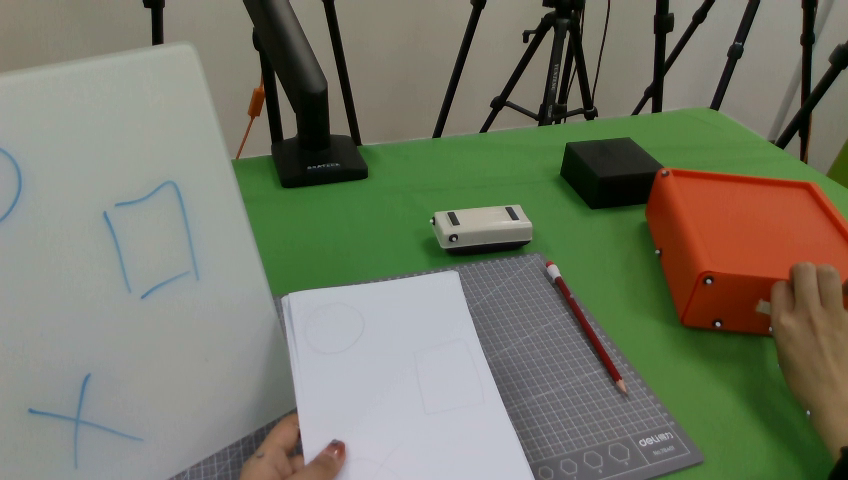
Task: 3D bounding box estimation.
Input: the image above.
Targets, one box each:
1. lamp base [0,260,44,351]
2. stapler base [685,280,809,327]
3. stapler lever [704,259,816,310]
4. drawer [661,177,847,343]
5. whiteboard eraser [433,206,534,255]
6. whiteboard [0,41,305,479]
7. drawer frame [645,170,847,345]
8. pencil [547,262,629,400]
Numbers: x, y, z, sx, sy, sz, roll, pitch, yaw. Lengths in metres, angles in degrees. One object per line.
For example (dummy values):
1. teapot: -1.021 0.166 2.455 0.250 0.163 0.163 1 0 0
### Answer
1. lamp base: -0.458 0.006 0.529 0.178 0.182 0.160 14 37 19
2. stapler base: 0.346 0.062 0.643 0.131 0.024 0.041 11 43 -4
3. stapler lever: 0.351 0.046 0.630 0.118 0.040 0.026 8 43 -1
4. drawer: 0.376 0.014 0.681 0.194 0.074 0.210 5 35 4
5. whiteboard eraser: 0.070 -0.011 0.723 0.113 0.042 0.055 -5 37 -12
6. whiteboard: -0.251 0.028 0.460 0.217 0.307 0.142 -24 25 -32
7. drawer frame: 0.374 0.012 0.683 0.201 0.083 0.212 5 35 3
8. pencil: 0.165 0.086 0.619 0.012 0.012 0.192 -5 39 -12
